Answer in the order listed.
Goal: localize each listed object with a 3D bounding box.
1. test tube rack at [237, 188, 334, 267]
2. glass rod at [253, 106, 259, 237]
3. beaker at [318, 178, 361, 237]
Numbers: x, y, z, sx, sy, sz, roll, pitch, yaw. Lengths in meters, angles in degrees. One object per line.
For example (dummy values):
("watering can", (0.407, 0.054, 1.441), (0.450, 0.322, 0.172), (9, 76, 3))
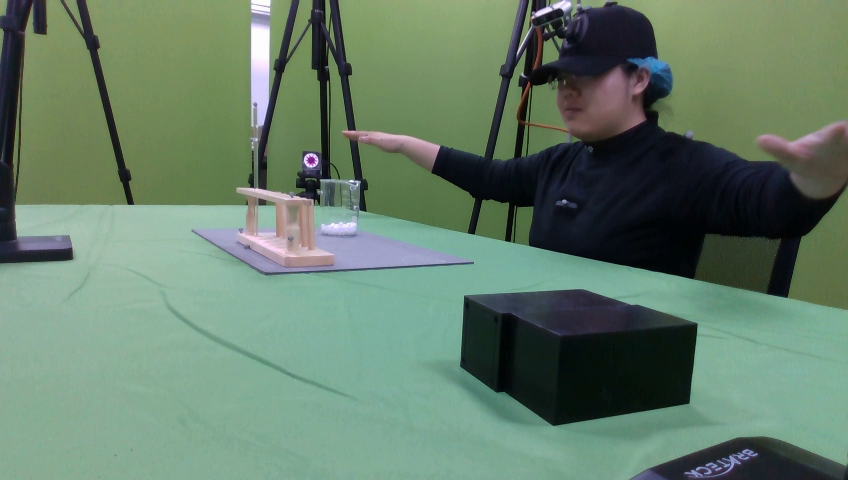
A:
("test tube rack", (-0.202, -0.024, 0.855), (0.067, 0.085, 0.241), (-2, 8, -30))
("glass rod", (-0.253, -0.101, 0.912), (0.008, 0.199, 0.008), (1, 3, 0))
("beaker", (-0.150, -0.059, 1.087), (0.083, 0.100, 0.074), (10, 11, 40))
